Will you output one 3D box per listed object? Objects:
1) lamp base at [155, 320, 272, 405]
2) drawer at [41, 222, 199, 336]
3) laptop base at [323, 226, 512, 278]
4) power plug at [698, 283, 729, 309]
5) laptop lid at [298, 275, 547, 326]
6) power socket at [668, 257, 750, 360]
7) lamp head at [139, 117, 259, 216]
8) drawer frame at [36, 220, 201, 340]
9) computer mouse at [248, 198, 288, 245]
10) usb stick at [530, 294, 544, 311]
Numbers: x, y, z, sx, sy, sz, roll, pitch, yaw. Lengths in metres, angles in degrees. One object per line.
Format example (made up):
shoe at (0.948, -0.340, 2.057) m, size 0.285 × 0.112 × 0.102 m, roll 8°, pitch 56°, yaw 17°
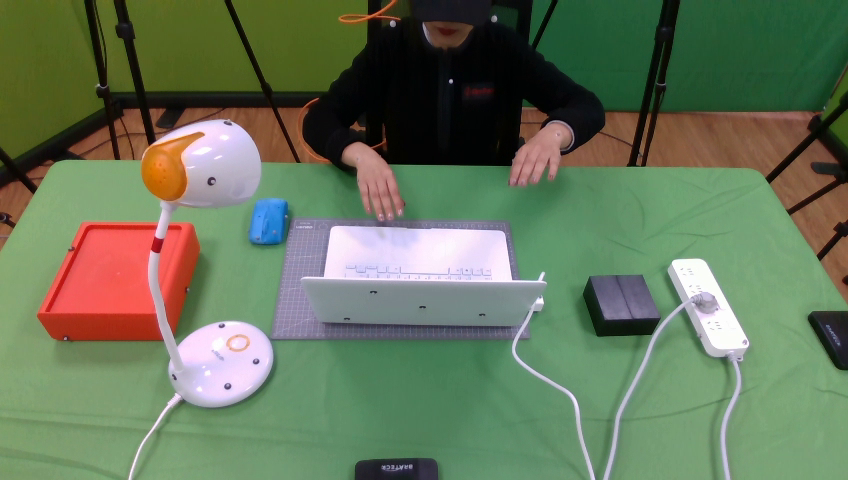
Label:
lamp base at (-0.330, 0.149, 0.918) m, size 0.160 × 0.181 × 0.179 m, roll 26°, pitch 52°, yaw 20°
drawer at (-0.519, 0.064, 1.058) m, size 0.195 × 0.073 × 0.210 m, roll 1°, pitch 47°, yaw -4°
laptop base at (-0.010, 0.063, 1.137) m, size 0.354 × 0.023 × 0.234 m, roll 1°, pitch 42°, yaw -3°
power plug at (0.510, 0.096, 1.060) m, size 0.052 × 0.073 × 0.035 m, roll -20°, pitch 61°, yaw 8°
laptop lid at (-0.004, 0.099, 0.947) m, size 0.357 × 0.242 × 0.013 m, roll 2°, pitch 67°, yaw -4°
power socket at (0.517, 0.117, 1.109) m, size 0.072 × 0.033 × 0.225 m, roll -3°, pitch 47°, yaw -4°
lamp head at (-0.281, -0.086, 0.734) m, size 0.112 × 0.113 × 0.123 m, roll 21°, pitch 25°, yaw 16°
drawer frame at (-0.518, 0.065, 1.055) m, size 0.202 × 0.083 × 0.212 m, roll 0°, pitch 47°, yaw -5°
computer mouse at (-0.309, -0.041, 1.205) m, size 0.063 × 0.041 × 0.116 m, roll 3°, pitch 49°, yaw -3°
usb stick at (0.183, 0.111, 1.086) m, size 0.059 × 0.027 × 0.021 m, roll 0°, pitch 47°, yaw -4°
